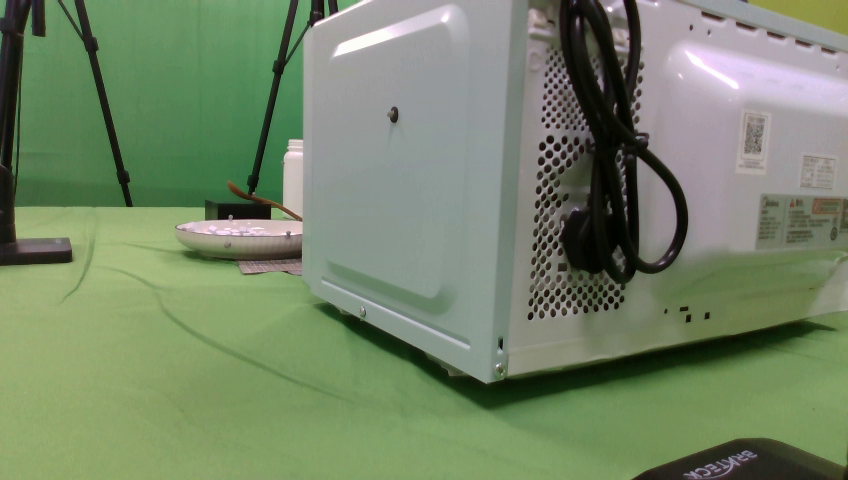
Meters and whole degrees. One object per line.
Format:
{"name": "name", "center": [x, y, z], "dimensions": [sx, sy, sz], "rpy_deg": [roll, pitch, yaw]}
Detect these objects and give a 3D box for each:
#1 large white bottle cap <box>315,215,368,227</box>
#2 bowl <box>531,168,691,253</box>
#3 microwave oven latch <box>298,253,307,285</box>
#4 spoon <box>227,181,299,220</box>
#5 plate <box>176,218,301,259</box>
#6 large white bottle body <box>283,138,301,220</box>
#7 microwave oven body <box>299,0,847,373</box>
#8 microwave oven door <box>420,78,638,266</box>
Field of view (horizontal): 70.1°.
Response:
{"name": "large white bottle cap", "center": [-0.177, -0.041, 1.309], "dimensions": [0.115, 0.018, 0.115], "rpy_deg": [2, 6, 0]}
{"name": "bowl", "center": [0.180, -0.031, 0.597], "dimensions": [0.151, 0.077, 0.151], "rpy_deg": [1, 8, 0]}
{"name": "microwave oven latch", "center": [-0.081, 0.027, 0.582], "dimensions": [0.079, 0.029, 0.030], "rpy_deg": [-1, 7, -32]}
{"name": "spoon", "center": [-0.315, -0.074, 1.235], "dimensions": [0.195, 0.021, 0.041], "rpy_deg": [24, -10, -37]}
{"name": "plate", "center": [-0.248, -0.003, 0.877], "dimensions": [0.209, 0.038, 0.209], "rpy_deg": [1, 8, 0]}
{"name": "large white bottle body", "center": [-0.265, -0.143, 1.423], "dimensions": [0.131, 0.184, 0.130], "rpy_deg": [2, 7, 0]}
{"name": "microwave oven body", "center": [0.151, -0.055, 0.543], "dimensions": [0.444, 0.260, 0.324], "rpy_deg": [-1, 7, -33]}
{"name": "microwave oven door", "center": [0.134, -0.105, 0.894], "dimensions": [0.354, 0.243, 0.039], "rpy_deg": [9, 10, 43]}
